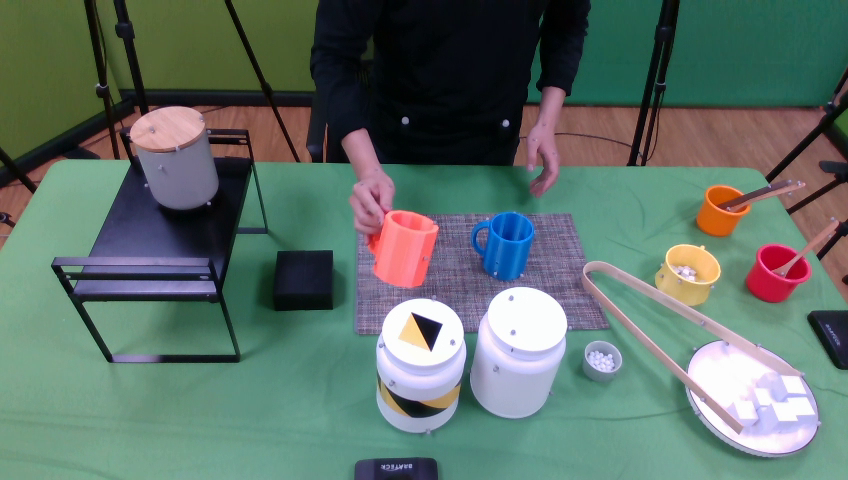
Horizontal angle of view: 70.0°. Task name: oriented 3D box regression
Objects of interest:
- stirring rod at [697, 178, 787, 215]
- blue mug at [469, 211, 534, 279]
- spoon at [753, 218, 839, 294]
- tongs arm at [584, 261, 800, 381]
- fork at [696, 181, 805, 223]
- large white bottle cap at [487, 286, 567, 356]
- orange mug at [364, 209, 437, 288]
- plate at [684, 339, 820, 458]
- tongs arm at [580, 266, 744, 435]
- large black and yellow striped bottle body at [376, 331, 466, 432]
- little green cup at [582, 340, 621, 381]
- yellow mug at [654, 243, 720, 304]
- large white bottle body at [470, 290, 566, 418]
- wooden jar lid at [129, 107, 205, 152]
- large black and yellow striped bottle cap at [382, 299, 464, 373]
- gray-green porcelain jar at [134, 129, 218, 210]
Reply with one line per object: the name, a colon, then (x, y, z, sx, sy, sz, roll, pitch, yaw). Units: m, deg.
stirring rod: (0.650, -0.088, 1.246, 0.006, 0.176, 0.014, 29, 50, -39)
blue mug: (0.141, 0.005, 1.140, 0.116, 0.106, 0.082, 18, 48, 13)
spoon: (0.700, 0.031, 1.138, 0.194, 0.022, 0.041, -47, 55, 14)
tongs arm: (0.452, 0.137, 1.064, 0.051, 0.027, 0.382, -34, 50, -27)
fork: (0.659, -0.077, 1.232, 0.207, 0.019, 0.028, -26, 35, 34)
large white bottle cap: (0.147, 0.115, 0.869, 0.115, 0.018, 0.114, 3, 46, -3)
orange mug: (-0.045, 0.005, 0.974, 0.125, 0.101, 0.084, 36, 29, 33)
plate: (0.523, 0.256, 0.982, 0.208, 0.039, 0.206, 2, 46, -2)
tongs arm: (0.384, 0.173, 1.028, 0.028, 0.028, 0.385, -25, 46, -15)
large black and yellow striped bottle body: (-0.007, 0.189, 0.905, 0.131, 0.185, 0.130, 2, 46, -2)
little green cup: (0.295, 0.204, 1.014, 0.061, 0.039, 0.061, 2, 45, -2)
yellow mug: (0.504, 0.054, 1.154, 0.099, 0.064, 0.130, 28, 50, 22)
large white bottle body: (0.143, 0.173, 0.930, 0.131, 0.185, 0.130, 2, 46, -2)
wooden jar lid: (-0.385, -0.163, 0.915, 0.108, 0.021, 0.107, 2, 47, -2)
large black and yellow striped bottle cap: (-0.002, 0.132, 0.843, 0.115, 0.019, 0.114, 2, 46, -1)
gray-green porcelain jar: (-0.388, -0.120, 0.960, 0.106, 0.127, 0.105, 2, 46, -2)
